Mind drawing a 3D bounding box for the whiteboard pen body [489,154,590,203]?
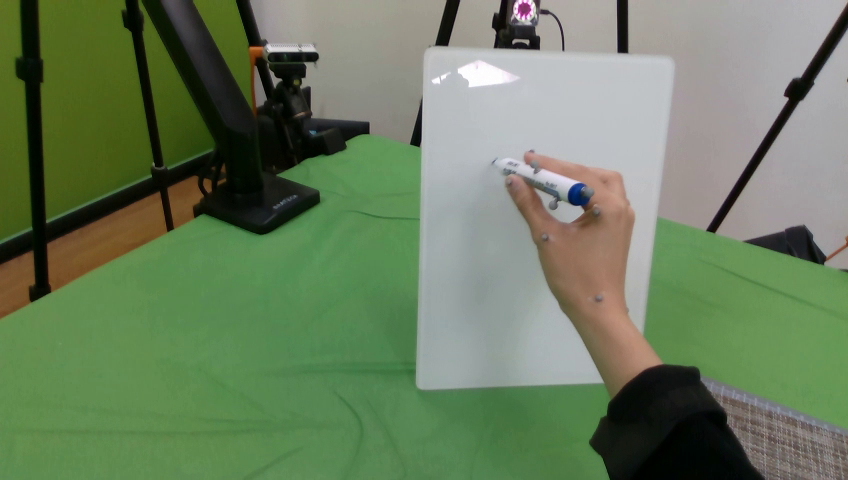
[{"bbox_3d":[0.079,-0.049,0.447,0.017,0.017,0.139,-7,18,-17],"label":"whiteboard pen body"}]

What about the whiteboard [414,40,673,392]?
[{"bbox_3d":[0.094,-0.027,0.596,0.218,0.306,0.143,0,14,-8],"label":"whiteboard"}]
